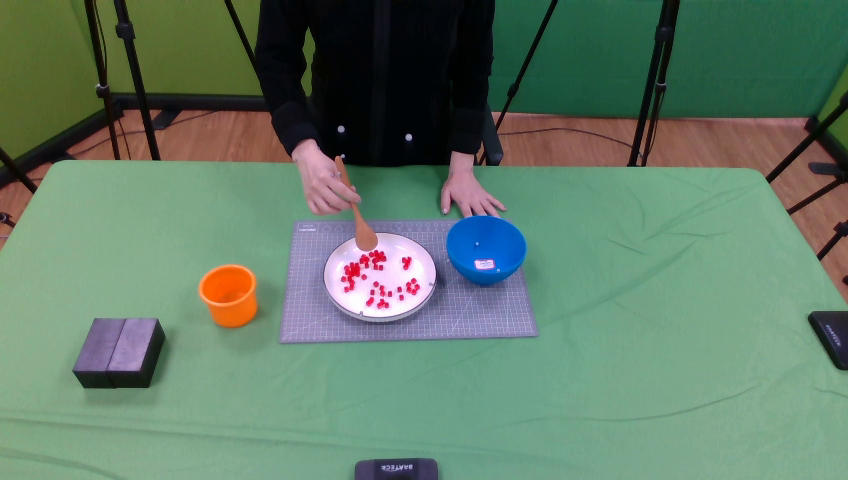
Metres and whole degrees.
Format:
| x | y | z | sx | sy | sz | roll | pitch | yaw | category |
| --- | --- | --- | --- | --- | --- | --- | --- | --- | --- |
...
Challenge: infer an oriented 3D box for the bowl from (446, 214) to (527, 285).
| x | y | z | sx | sy | sz | roll | pitch | yaw | category |
| --- | --- | --- | --- | --- | --- | --- | --- | --- | --- |
| 0.112 | 0.031 | 1.134 | 0.151 | 0.077 | 0.150 | 2 | 46 | -2 | bowl |

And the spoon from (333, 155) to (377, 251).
| x | y | z | sx | sy | sz | roll | pitch | yaw | category |
| --- | --- | --- | --- | --- | --- | --- | --- | --- | --- |
| -0.125 | -0.060 | 1.055 | 0.041 | 0.194 | 0.021 | -18 | 27 | -2 | spoon |

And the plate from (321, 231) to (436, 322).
| x | y | z | sx | sy | sz | roll | pitch | yaw | category |
| --- | --- | --- | --- | --- | --- | --- | --- | --- | --- |
| -0.083 | 0.070 | 1.109 | 0.209 | 0.038 | 0.208 | 3 | 46 | -3 | plate |
